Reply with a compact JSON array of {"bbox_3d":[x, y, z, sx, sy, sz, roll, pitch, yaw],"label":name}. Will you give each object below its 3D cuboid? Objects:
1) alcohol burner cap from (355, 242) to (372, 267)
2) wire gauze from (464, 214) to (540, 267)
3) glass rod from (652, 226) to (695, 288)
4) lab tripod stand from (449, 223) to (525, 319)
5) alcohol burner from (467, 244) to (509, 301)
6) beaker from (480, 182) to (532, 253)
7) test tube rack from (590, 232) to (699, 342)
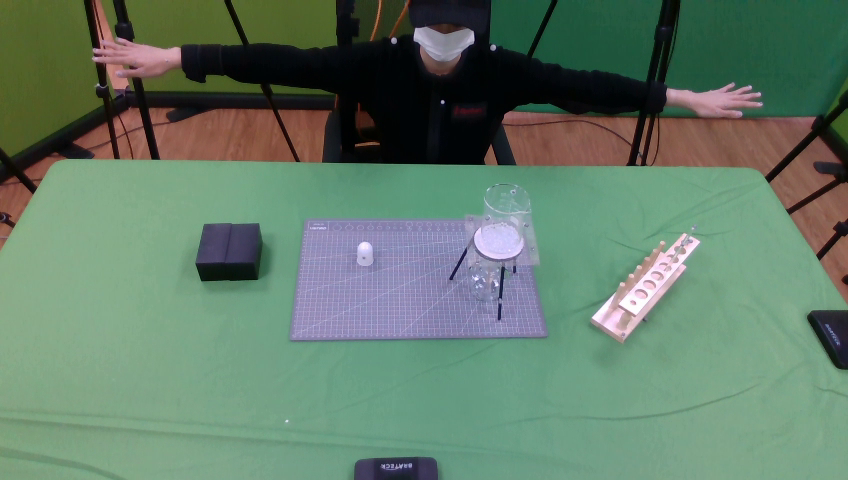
[{"bbox_3d":[-0.114,0.024,1.147,0.034,0.048,0.033,2,45,-2],"label":"alcohol burner cap"},{"bbox_3d":[0.131,-0.001,1.035,0.121,0.011,0.124,1,44,-2],"label":"wire gauze"},{"bbox_3d":[0.432,0.037,1.057,0.008,0.200,0.008,1,54,-1],"label":"glass rod"},{"bbox_3d":[0.120,0.046,1.080,0.148,0.132,0.147,1,47,-1],"label":"lab tripod stand"},{"bbox_3d":[0.116,0.053,1.087,0.078,0.120,0.077,1,44,-1],"label":"alcohol burner"},{"bbox_3d":[0.133,-0.033,0.998,0.083,0.101,0.074,26,51,22],"label":"beaker"},{"bbox_3d":[0.407,0.074,1.112,0.066,0.085,0.242,35,53,26],"label":"test tube rack"}]
